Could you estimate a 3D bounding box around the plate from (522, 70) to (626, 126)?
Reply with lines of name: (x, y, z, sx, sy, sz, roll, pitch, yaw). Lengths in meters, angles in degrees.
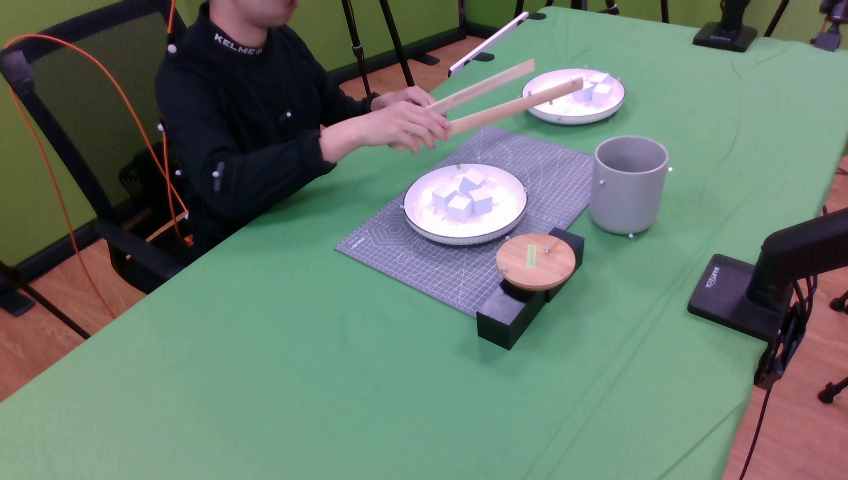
plate: (0.308, -0.290, 1.251, 0.207, 0.039, 0.206, -4, 40, 4)

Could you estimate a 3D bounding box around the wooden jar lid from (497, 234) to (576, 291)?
wooden jar lid: (0.155, 0.032, 0.834, 0.108, 0.021, 0.108, -5, 40, 5)

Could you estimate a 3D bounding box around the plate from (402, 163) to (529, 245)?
plate: (0.069, -0.056, 1.008, 0.209, 0.038, 0.208, -4, 40, 4)

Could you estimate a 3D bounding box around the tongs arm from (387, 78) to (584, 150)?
tongs arm: (0.118, -0.232, 1.086, 0.386, 0.026, 0.050, -23, 41, -18)

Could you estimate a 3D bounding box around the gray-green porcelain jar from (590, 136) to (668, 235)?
gray-green porcelain jar: (0.314, -0.080, 0.937, 0.106, 0.127, 0.105, -4, 41, 4)

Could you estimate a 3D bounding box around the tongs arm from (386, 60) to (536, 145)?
tongs arm: (0.079, -0.267, 1.141, 0.389, 0.028, 0.028, -30, 47, -27)
